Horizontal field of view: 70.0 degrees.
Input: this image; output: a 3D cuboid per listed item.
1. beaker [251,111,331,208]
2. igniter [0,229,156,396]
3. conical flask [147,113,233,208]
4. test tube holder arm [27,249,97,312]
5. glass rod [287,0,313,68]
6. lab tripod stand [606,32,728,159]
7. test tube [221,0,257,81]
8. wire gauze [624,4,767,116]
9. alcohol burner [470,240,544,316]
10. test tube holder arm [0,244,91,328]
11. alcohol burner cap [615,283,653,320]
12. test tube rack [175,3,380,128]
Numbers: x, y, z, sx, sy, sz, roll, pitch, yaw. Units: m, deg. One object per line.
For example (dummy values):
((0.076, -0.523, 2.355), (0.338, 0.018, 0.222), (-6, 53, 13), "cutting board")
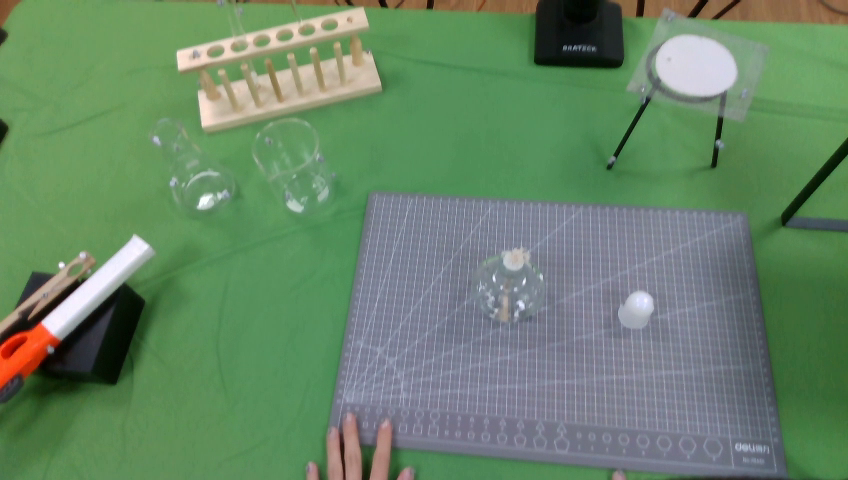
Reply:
((-0.153, -0.087, 0.714), (0.074, 0.101, 0.083), (18, 66, 13), "beaker")
((-0.392, 0.094, 0.621), (0.057, 0.025, 0.276), (30, 67, 27), "igniter")
((-0.279, -0.097, 0.712), (0.075, 0.123, 0.074), (-1, 62, 3), "conical flask")
((-0.390, 0.043, 0.649), (0.010, 0.015, 0.087), (47, 72, -8), "test tube holder arm")
((-0.164, -0.288, 0.750), (0.008, 0.201, 0.008), (-5, 56, 7), "glass rod")
((0.289, -0.161, 0.708), (0.148, 0.132, 0.147), (0, 62, 1), "lab tripod stand")
((-0.231, -0.255, 0.756), (0.017, 0.151, 0.017), (1, 60, -1), "test tube")
((0.293, -0.193, 0.648), (0.121, 0.011, 0.124), (24, 67, 13), "wire gauze")
((0.087, 0.033, 0.627), (0.078, 0.120, 0.077), (0, 62, 1), "alcohol burner")
((-0.423, 0.070, 0.634), (0.013, 0.015, 0.178), (47, 72, -8), "test tube holder arm")
((0.225, 0.063, 0.644), (0.034, 0.048, 0.033), (-1, 62, 2), "alcohol burner cap")
((-0.187, -0.228, 0.795), (0.242, 0.086, 0.066), (-15, 63, -5), "test tube rack")
